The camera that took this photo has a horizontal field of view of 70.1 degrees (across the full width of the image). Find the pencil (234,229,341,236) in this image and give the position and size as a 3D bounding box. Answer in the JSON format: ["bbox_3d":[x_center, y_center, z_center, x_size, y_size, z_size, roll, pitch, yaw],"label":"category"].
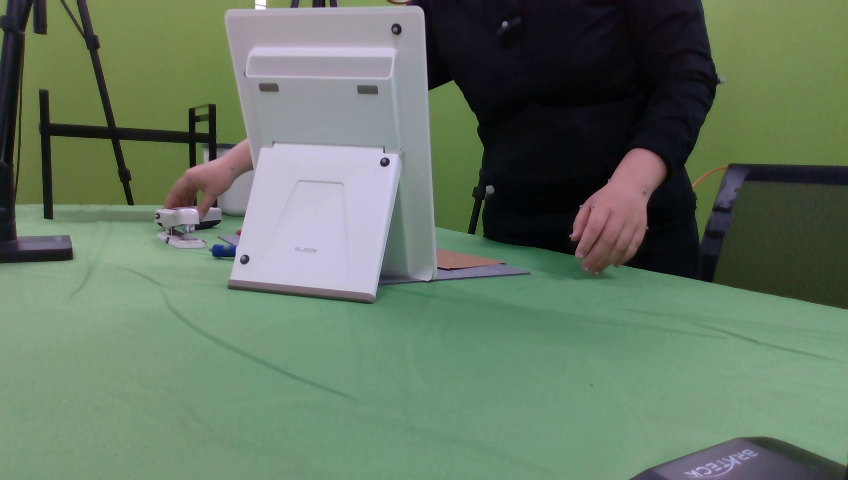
[{"bbox_3d":[-0.231,-0.012,1.051,0.195,0.012,0.012,1,7,-34],"label":"pencil"}]

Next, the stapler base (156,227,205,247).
[{"bbox_3d":[-0.376,-0.007,0.935,0.041,0.024,0.130,1,5,-38],"label":"stapler base"}]

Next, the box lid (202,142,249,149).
[{"bbox_3d":[-0.345,-0.225,1.509,0.373,0.015,0.262,-2,8,-31],"label":"box lid"}]

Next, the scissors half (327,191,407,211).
[{"bbox_3d":[-0.123,-0.092,1.318,0.175,0.040,0.013,6,9,-4],"label":"scissors half"}]

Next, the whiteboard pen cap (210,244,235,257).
[{"bbox_3d":[-0.266,0.015,0.806,0.033,0.018,0.018,3,7,-1],"label":"whiteboard pen cap"}]

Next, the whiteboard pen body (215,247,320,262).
[{"bbox_3d":[-0.208,0.019,0.804,0.141,0.017,0.017,3,7,1],"label":"whiteboard pen body"}]

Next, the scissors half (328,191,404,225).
[{"bbox_3d":[-0.128,-0.072,1.320,0.175,0.040,0.013,22,3,-5],"label":"scissors half"}]

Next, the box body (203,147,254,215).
[{"bbox_3d":[-0.347,-0.152,1.519,0.366,0.160,0.253,-2,9,-31],"label":"box body"}]

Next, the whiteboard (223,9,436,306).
[{"bbox_3d":[-0.117,-0.065,0.617,0.217,0.305,0.144,5,29,16],"label":"whiteboard"}]

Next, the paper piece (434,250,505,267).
[{"bbox_3d":[0.025,0.026,0.865,0.134,0.004,0.136,8,8,43],"label":"paper piece"}]

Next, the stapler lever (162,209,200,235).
[{"bbox_3d":[-0.376,-0.031,0.933,0.027,0.040,0.117,1,6,-38],"label":"stapler lever"}]

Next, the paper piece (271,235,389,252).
[{"bbox_3d":[-0.151,0.003,0.978,0.135,0.008,0.139,14,10,35],"label":"paper piece"}]

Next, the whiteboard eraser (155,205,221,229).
[{"bbox_3d":[-0.427,-0.041,1.099,0.055,0.042,0.113,10,10,20],"label":"whiteboard eraser"}]
